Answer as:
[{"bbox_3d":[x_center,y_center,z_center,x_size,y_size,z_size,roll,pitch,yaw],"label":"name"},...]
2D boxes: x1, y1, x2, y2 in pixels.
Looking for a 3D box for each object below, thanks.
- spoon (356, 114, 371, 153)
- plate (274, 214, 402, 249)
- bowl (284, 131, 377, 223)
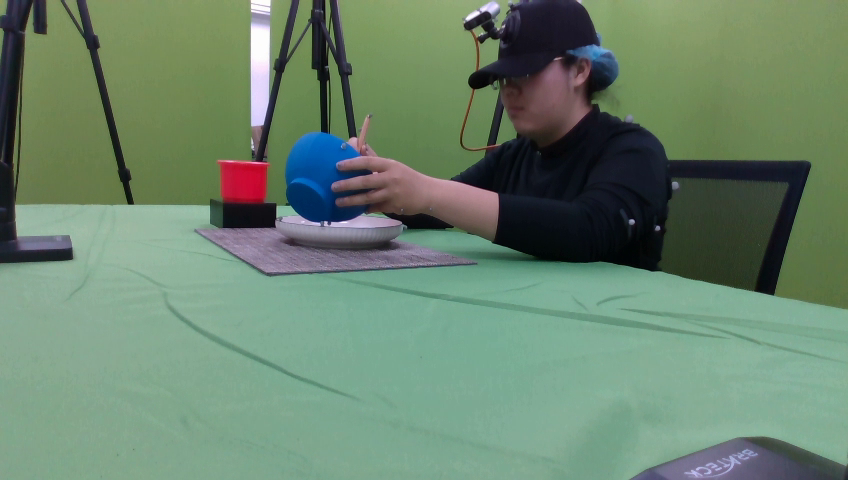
[{"bbox_3d":[-0.121,-0.136,1.010,0.022,0.193,0.041,27,-30,-10],"label":"spoon"},{"bbox_3d":[-0.140,-0.015,0.993,0.208,0.039,0.207,3,8,0],"label":"plate"},{"bbox_3d":[-0.154,-0.078,0.902,0.151,0.152,0.077,6,42,30],"label":"bowl"}]
